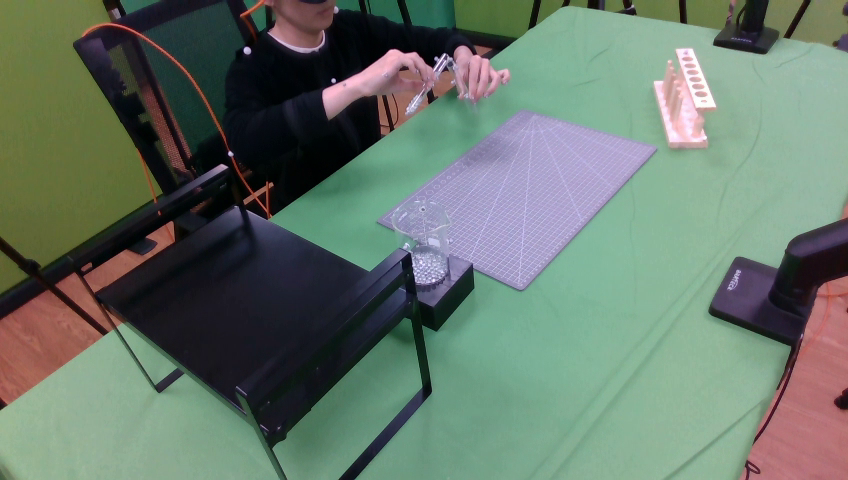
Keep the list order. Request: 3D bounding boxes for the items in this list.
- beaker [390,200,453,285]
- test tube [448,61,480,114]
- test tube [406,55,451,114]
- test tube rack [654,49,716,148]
[{"bbox_3d":[0.002,0.006,0.831,0.084,0.101,0.074,5,42,13],"label":"beaker"},{"bbox_3d":[0.076,-0.279,1.121,0.017,0.151,0.017,-9,64,20],"label":"test tube"},{"bbox_3d":[0.008,-0.261,1.009,0.017,0.017,0.150,15,55,24],"label":"test tube"},{"bbox_3d":[0.502,-0.281,1.176,0.066,0.085,0.241,2,41,11],"label":"test tube rack"}]
